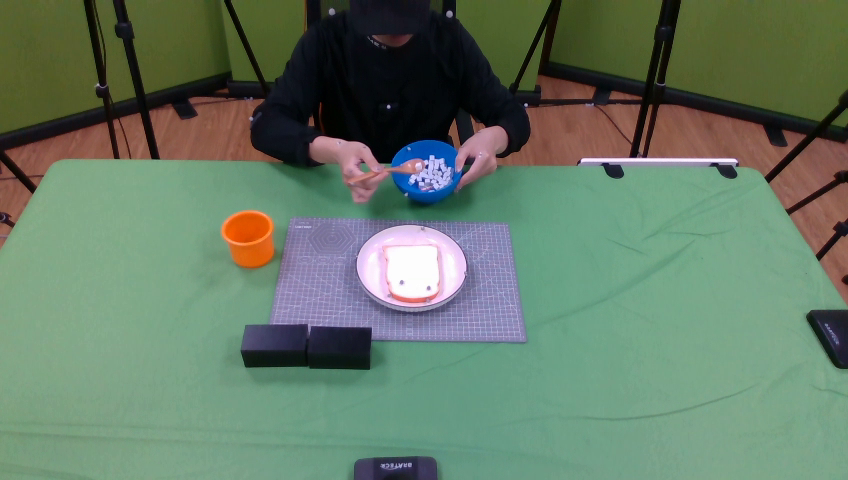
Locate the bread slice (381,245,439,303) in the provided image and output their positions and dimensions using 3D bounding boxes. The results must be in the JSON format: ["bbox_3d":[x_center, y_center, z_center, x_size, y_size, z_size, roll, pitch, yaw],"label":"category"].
[{"bbox_3d":[-0.022,0.061,1.126,0.107,0.018,0.133,-3,45,-8],"label":"bread slice"}]

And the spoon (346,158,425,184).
[{"bbox_3d":[-0.073,-0.132,1.163,0.194,0.022,0.041,-17,47,-43],"label":"spoon"}]

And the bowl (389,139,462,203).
[{"bbox_3d":[0.006,-0.130,1.266,0.151,0.077,0.150,-3,54,4],"label":"bowl"}]

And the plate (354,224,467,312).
[{"bbox_3d":[-0.025,0.055,1.128,0.209,0.038,0.208,3,46,-2],"label":"plate"}]
